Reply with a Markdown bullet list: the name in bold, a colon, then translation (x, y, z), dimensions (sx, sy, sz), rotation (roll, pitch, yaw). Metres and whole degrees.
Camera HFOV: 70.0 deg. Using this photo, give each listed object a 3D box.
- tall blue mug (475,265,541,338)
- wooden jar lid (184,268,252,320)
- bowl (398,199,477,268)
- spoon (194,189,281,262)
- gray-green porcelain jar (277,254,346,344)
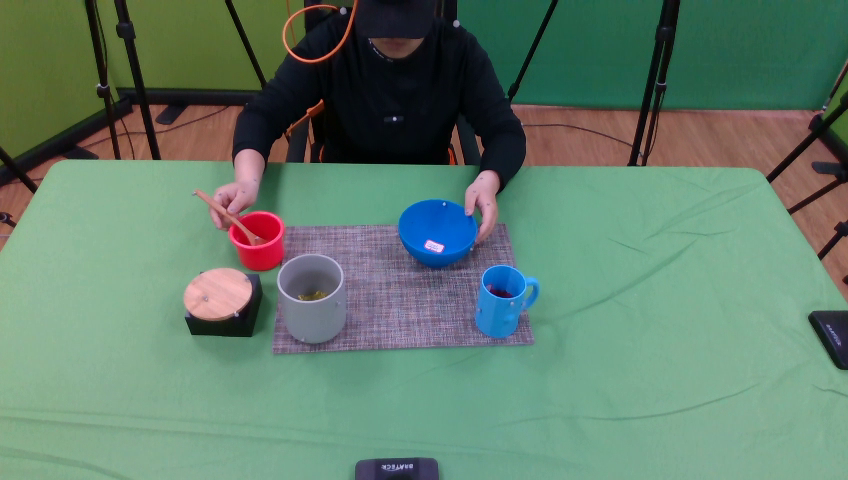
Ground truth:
- **tall blue mug**: translation (0.142, 0.098, 1.047), dimensions (0.077, 0.108, 0.107), rotation (33, 53, 27)
- **wooden jar lid**: translation (-0.343, 0.092, 1.015), dimensions (0.108, 0.021, 0.107), rotation (3, 46, -3)
- **bowl**: translation (0.024, -0.001, 1.156), dimensions (0.151, 0.077, 0.150), rotation (2, 46, -2)
- **spoon**: translation (-0.342, -0.027, 1.115), dimensions (0.194, 0.021, 0.041), rotation (47, 48, -20)
- **gray-green porcelain jar**: translation (-0.184, 0.102, 1.008), dimensions (0.106, 0.127, 0.105), rotation (2, 46, -2)
